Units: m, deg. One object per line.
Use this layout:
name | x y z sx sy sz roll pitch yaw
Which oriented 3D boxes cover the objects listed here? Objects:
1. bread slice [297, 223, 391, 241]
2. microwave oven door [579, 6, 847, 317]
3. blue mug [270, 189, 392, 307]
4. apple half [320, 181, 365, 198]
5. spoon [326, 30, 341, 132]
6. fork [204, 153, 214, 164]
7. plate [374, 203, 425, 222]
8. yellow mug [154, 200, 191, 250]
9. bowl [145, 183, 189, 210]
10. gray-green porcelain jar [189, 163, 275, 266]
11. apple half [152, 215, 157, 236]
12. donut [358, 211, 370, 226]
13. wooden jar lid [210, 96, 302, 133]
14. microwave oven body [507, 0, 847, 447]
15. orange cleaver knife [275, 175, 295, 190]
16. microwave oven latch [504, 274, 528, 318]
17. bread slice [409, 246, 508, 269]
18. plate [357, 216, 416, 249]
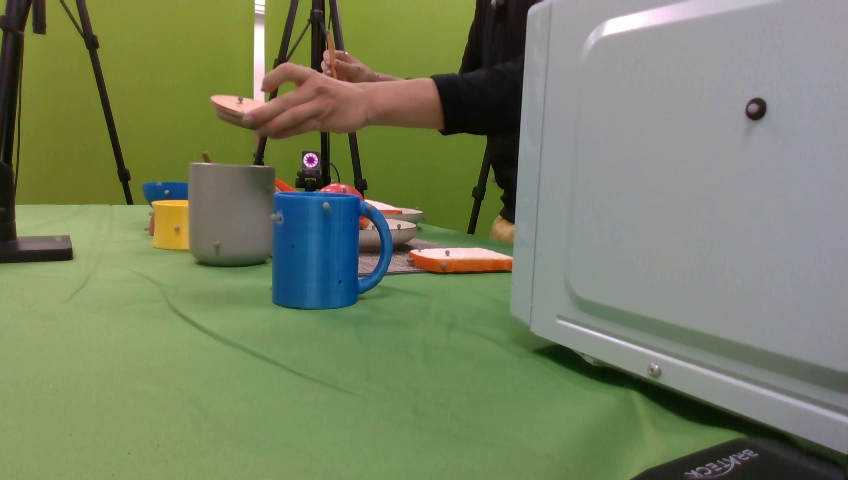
bread slice | -0.121 -0.015 0.970 0.106 0.018 0.135 8 9 41
microwave oven door | 0.294 -0.067 0.570 0.358 0.243 0.039 -3 9 -31
blue mug | -0.089 0.005 0.588 0.117 0.106 0.082 1 7 -11
apple half | -0.130 -0.077 0.952 0.081 0.033 0.081 3 14 0
spoon | -0.170 -0.296 1.129 0.021 0.193 0.042 -2 -2 20
fork | -0.480 -0.134 1.411 0.028 0.018 0.207 1 -35 0
plate | -0.102 -0.053 1.299 0.209 0.038 0.209 2 8 0
yellow mug | -0.337 -0.022 0.899 0.130 0.064 0.100 8 9 34
bowl | -0.459 -0.069 1.175 0.151 0.077 0.151 3 7 0
gray-green porcelain jar | -0.246 -0.034 0.780 0.106 0.126 0.106 2 7 0
apple half | -0.415 -0.034 1.017 0.081 0.053 0.074 1 10 -8
donut | -0.132 -0.042 0.959 0.099 0.048 0.099 2 7 0
wooden jar lid | -0.203 -0.152 0.733 0.108 0.020 0.108 14 19 -5
microwave oven body | 0.331 -0.042 0.425 0.444 0.260 0.324 -2 8 -31
orange cleaver knife | -0.283 -0.087 1.343 0.212 0.077 0.012 24 -16 -41
microwave oven latch | 0.100 0.041 0.470 0.079 0.029 0.030 -1 7 -27
bread slice | 0.048 0.022 0.816 0.132 0.019 0.104 0 7 -24
plate | -0.116 -0.014 0.967 0.208 0.039 0.207 2 7 0
